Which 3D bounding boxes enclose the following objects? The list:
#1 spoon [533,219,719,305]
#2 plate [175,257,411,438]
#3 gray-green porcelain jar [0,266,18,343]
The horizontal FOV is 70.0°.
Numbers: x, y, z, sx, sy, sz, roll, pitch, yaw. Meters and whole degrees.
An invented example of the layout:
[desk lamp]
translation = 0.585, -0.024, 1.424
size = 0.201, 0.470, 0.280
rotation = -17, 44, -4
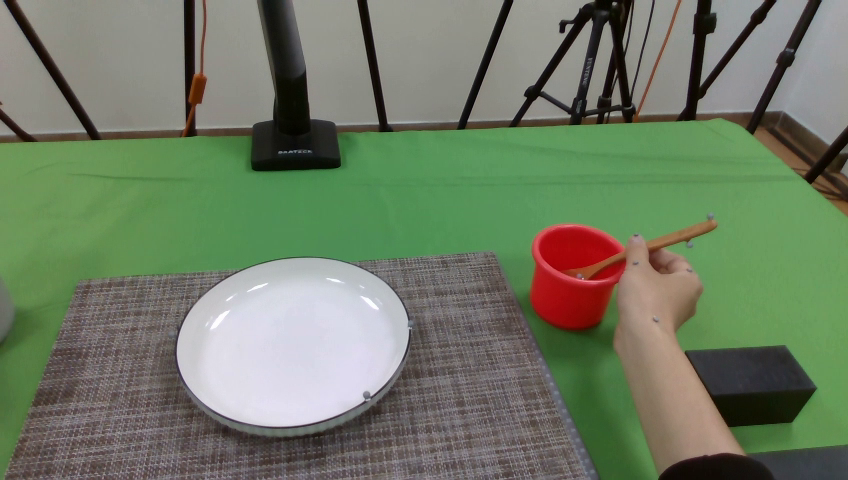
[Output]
[spoon]
translation = 0.196, 0.022, 0.606
size = 0.193, 0.022, 0.041
rotation = -29, 37, 32
[plate]
translation = -0.116, 0.096, 0.559
size = 0.208, 0.039, 0.205
rotation = 3, 38, -2
[gray-green porcelain jar]
translation = -0.430, 0.042, 0.527
size = 0.106, 0.127, 0.105
rotation = 3, 39, -2
